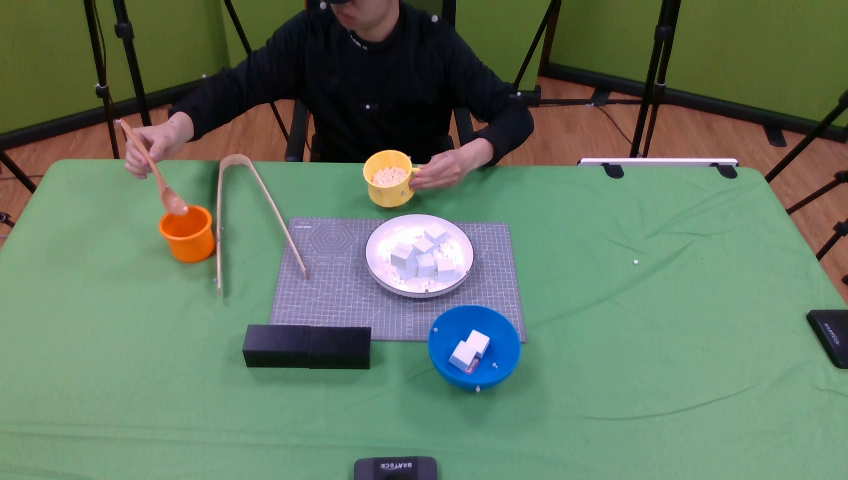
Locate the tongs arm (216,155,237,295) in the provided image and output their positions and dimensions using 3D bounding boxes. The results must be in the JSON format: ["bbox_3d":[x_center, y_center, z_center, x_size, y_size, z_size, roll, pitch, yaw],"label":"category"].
[{"bbox_3d":[-0.388,-0.043,1.201,0.051,0.026,0.382,-9,46,-12],"label":"tongs arm"}]

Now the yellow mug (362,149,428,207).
[{"bbox_3d":[-0.057,-0.127,1.235,0.131,0.064,0.099,-2,56,5],"label":"yellow mug"}]

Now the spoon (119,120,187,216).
[{"bbox_3d":[-0.476,-0.126,1.064,0.021,0.194,0.041,-20,11,31],"label":"spoon"}]

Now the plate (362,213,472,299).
[{"bbox_3d":[-0.014,0.034,1.150,0.208,0.039,0.206,2,46,-2],"label":"plate"}]

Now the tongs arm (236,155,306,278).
[{"bbox_3d":[-0.312,-0.059,1.224,0.028,0.028,0.385,-22,50,-18],"label":"tongs arm"}]

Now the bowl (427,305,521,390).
[{"bbox_3d":[0.076,0.188,0.985,0.151,0.077,0.150,3,46,-3],"label":"bowl"}]
